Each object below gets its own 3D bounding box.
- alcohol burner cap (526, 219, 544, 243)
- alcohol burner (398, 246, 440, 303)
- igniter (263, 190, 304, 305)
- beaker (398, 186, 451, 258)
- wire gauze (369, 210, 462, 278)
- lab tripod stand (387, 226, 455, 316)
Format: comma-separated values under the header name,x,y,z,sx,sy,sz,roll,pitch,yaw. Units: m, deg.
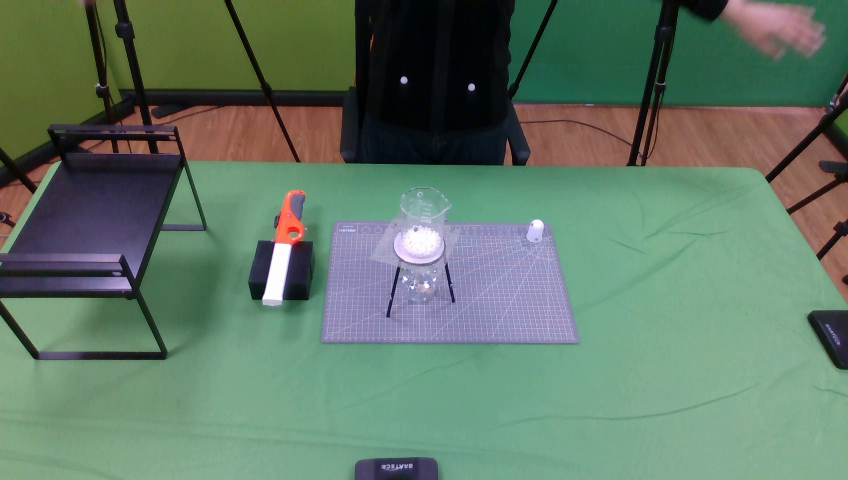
name,x,y,z,sx,sy,sz,roll,pitch,yaw
alcohol burner cap,0.225,-0.021,1.218,0.034,0.048,0.033,2,46,-1
alcohol burner,-0.008,0.056,1.077,0.078,0.119,0.077,3,44,-3
igniter,-0.255,0.004,1.107,0.057,0.025,0.274,6,47,-7
beaker,-0.001,-0.026,0.984,0.084,0.101,0.073,1,48,-3
wire gauze,-0.013,0.007,1.019,0.121,0.011,0.124,16,51,13
lab tripod stand,-0.013,0.054,1.064,0.148,0.132,0.147,2,48,-2
